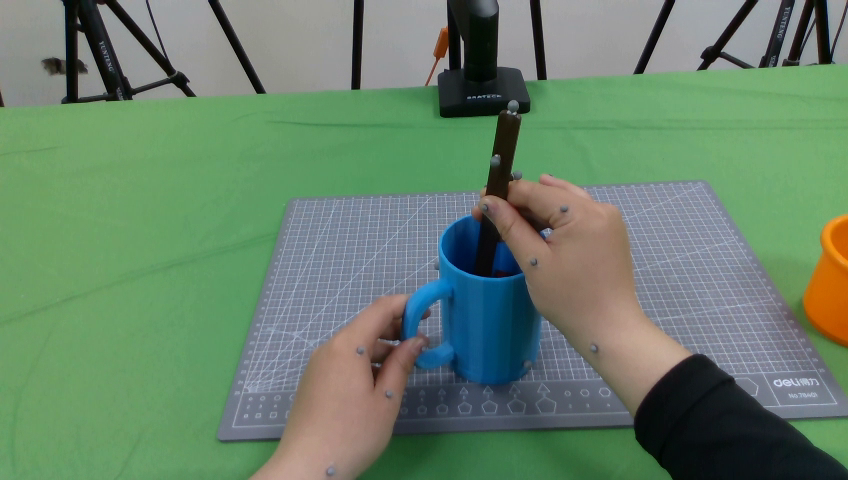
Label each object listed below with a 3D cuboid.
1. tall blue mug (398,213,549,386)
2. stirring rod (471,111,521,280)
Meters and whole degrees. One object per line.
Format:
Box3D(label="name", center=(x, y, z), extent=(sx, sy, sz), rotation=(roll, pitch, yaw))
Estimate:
Box3D(label="tall blue mug", center=(0.041, 0.053, 0.439), extent=(0.077, 0.109, 0.107), rotation=(20, 44, 25))
Box3D(label="stirring rod", center=(0.045, -0.012, 0.408), extent=(0.014, 0.177, 0.006), rotation=(18, 49, 12))
